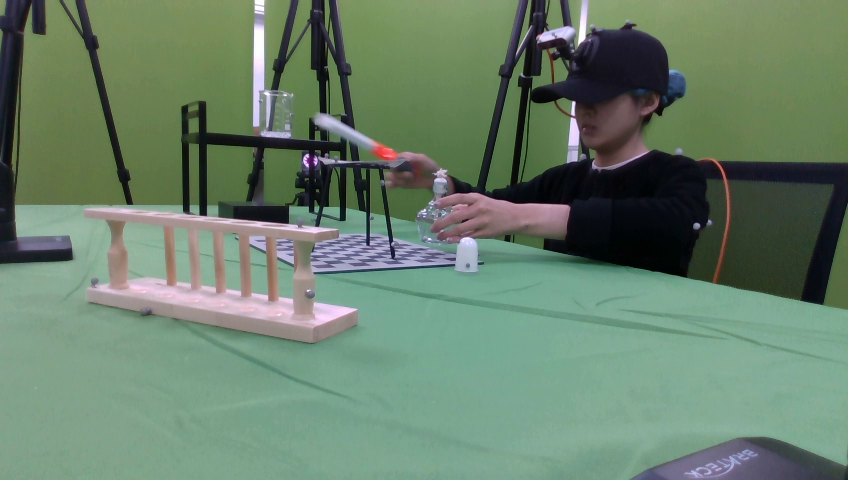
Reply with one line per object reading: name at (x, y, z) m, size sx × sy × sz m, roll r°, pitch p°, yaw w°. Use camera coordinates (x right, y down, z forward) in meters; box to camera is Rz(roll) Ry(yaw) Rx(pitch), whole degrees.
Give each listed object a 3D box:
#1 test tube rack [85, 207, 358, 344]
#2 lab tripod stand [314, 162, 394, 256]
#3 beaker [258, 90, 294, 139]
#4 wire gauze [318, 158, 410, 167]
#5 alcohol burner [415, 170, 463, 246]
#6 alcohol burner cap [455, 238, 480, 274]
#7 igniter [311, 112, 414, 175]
test tube rack at (-0.177, 0.022, 0.518) m, size 0.241 × 0.085 × 0.067 m, roll 6°, pitch 7°, yaw 23°
lab tripod stand at (-0.098, -0.048, 0.897) m, size 0.148 × 0.131 × 0.148 m, roll 2°, pitch 6°, yaw 0°
beaker at (-0.324, -0.274, 1.331) m, size 0.083 × 0.100 × 0.074 m, roll 7°, pitch 9°, yaw 24°
wire gauze at (-0.090, -0.114, 0.888) m, size 0.122 × 0.011 × 0.124 m, roll 0°, pitch 6°, yaw -15°
alcohol burner at (0.024, -0.051, 0.954) m, size 0.078 × 0.119 × 0.078 m, roll 3°, pitch 12°, yaw 0°
alcohol burner cap at (0.058, 0.022, 0.798) m, size 0.034 × 0.048 × 0.034 m, roll 3°, pitch 6°, yaw 0°
igniter at (-0.104, -0.171, 1.118) m, size 0.057 × 0.025 × 0.278 m, roll 46°, pitch 14°, yaw 32°
